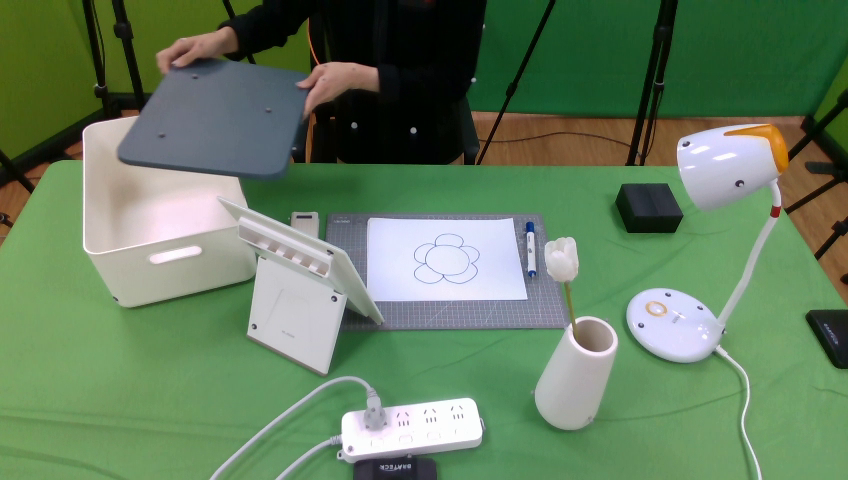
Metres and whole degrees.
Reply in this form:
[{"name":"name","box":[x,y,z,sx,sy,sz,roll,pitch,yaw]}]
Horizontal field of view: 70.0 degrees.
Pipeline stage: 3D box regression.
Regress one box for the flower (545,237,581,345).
[{"name":"flower","box":[0.213,0.137,0.846,0.038,0.364,0.044,21,55,39]}]

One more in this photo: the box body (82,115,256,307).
[{"name":"box body","box":[-0.471,-0.071,1.131,0.254,0.161,0.361,-14,49,-17]}]

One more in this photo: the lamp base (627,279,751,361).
[{"name":"lamp base","box":[0.460,0.100,1.027,0.178,0.181,0.160,27,51,17]}]

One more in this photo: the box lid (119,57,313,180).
[{"name":"box lid","box":[-0.350,-0.227,1.079,0.263,0.015,0.369,6,41,-5]}]

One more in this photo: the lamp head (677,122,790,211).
[{"name":"lamp head","box":[0.423,-0.104,0.819,0.122,0.113,0.112,-13,33,40]}]

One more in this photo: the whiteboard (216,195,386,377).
[{"name":"whiteboard","box":[-0.212,0.094,0.938,0.216,0.307,0.143,24,70,17]}]

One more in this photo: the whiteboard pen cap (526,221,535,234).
[{"name":"whiteboard pen cap","box":[0.216,-0.022,1.234,0.018,0.018,0.033,6,44,1]}]

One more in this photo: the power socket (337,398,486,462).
[{"name":"power socket","box":[-0.018,0.285,0.914,0.227,0.033,0.071,-4,46,-8]}]

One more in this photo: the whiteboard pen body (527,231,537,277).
[{"name":"whiteboard pen body","box":[0.211,0.018,1.191,0.017,0.017,0.140,6,44,2]}]

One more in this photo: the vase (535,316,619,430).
[{"name":"vase","box":[0.229,0.200,0.901,0.098,0.201,0.097,3,46,-3]}]

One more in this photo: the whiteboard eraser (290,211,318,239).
[{"name":"whiteboard eraser","box":[-0.234,-0.007,1.172,0.055,0.042,0.112,-3,47,-5]}]

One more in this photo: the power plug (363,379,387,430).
[{"name":"power plug","box":[-0.071,0.252,0.911,0.035,0.053,0.072,3,40,0]}]
